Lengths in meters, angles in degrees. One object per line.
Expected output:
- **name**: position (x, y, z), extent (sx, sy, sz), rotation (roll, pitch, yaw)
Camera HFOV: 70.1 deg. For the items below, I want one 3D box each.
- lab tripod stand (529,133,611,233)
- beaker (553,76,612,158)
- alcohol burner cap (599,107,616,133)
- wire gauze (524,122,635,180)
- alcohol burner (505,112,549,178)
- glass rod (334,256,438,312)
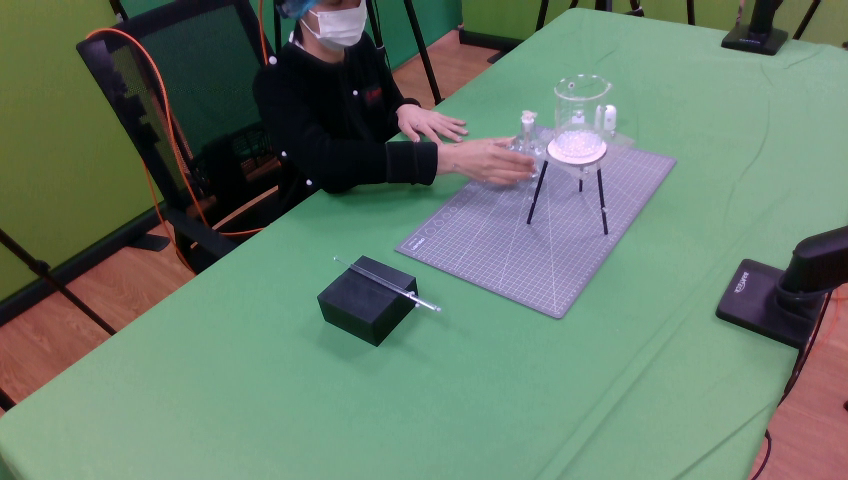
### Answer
- **lab tripod stand**: position (0.236, -0.089, 0.953), extent (0.148, 0.132, 0.147), rotation (-5, 42, 5)
- **beaker**: position (0.230, -0.178, 0.882), extent (0.084, 0.101, 0.073), rotation (-9, 41, 1)
- **alcohol burner cap**: position (0.361, -0.239, 1.189), extent (0.034, 0.048, 0.033), rotation (-4, 40, 4)
- **wire gauze**: position (0.233, -0.142, 0.913), extent (0.122, 0.011, 0.124), rotation (-31, 43, -26)
- **alcohol burner**: position (0.180, -0.167, 1.043), extent (0.078, 0.119, 0.077), rotation (-2, 39, 2)
- **glass rod**: position (-0.058, 0.060, 0.850), extent (0.198, 0.008, 0.008), rotation (24, 49, 33)
